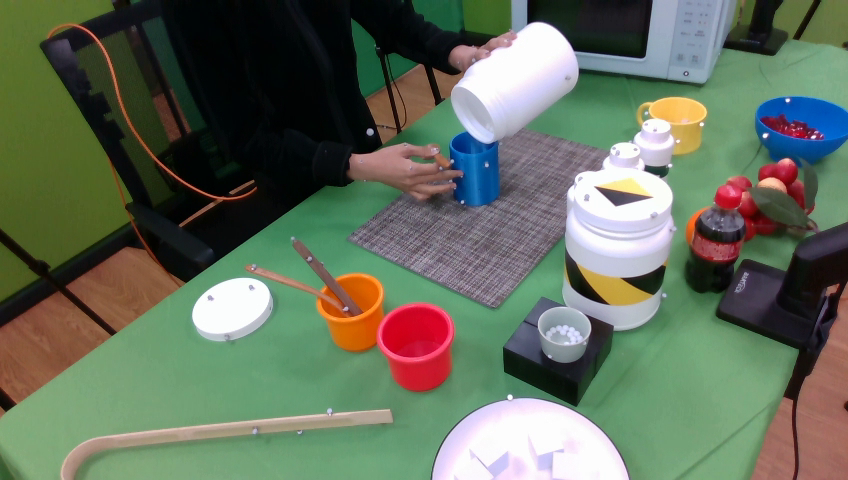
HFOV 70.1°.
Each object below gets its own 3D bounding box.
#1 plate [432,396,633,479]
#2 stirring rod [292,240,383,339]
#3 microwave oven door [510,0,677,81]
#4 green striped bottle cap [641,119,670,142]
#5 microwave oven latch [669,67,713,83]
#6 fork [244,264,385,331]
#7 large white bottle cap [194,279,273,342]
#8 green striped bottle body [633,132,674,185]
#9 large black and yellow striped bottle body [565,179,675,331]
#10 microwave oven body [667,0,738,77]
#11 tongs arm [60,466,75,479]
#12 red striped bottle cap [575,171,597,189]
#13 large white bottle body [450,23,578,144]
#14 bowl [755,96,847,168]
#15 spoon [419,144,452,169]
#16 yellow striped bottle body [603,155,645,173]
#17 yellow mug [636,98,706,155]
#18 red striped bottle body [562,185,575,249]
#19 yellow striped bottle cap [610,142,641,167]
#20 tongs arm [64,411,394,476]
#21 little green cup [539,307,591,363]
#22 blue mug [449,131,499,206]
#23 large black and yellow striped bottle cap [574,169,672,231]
[{"bbox_3d":[0.112,0.261,0.634,0.209,0.038,0.208,-5,40,4],"label":"plate"},{"bbox_3d":[-0.118,0.068,0.825,0.176,0.006,0.014,48,59,-3],"label":"stirring rod"},{"bbox_3d":[0.354,-0.478,1.290,0.353,0.245,0.039,15,45,25],"label":"microwave oven door"},{"bbox_3d":[0.371,-0.175,0.968,0.044,0.020,0.044,-4,42,4],"label":"green striped bottle cap"},{"bbox_3d":[0.556,-0.349,1.261,0.078,0.029,0.030,16,46,27],"label":"microwave oven latch"},{"bbox_3d":[-0.142,0.078,0.806,0.209,0.018,0.028,30,32,-23],"label":"fork"},{"bbox_3d":[-0.284,0.103,0.902,0.115,0.018,0.114,-4,40,4],"label":"large white bottle cap"},{"bbox_3d":[0.376,-0.135,1.001,0.063,0.120,0.063,-5,40,5],"label":"green striped bottle body"},{"bbox_3d":[0.254,0.014,0.793,0.131,0.185,0.130,-5,40,4],"label":"large black and yellow striped bottle body"},{"bbox_3d":[0.462,-0.552,1.369,0.439,0.261,0.326,15,45,26],"label":"microwave oven body"},{"bbox_3d":[-0.239,0.301,0.649,0.386,0.028,0.028,6,49,16],"label":"tongs arm"},{"bbox_3d":[0.242,-0.081,0.876,0.044,0.018,0.044,-5,44,5],"label":"red striped bottle cap"},{"bbox_3d":[0.146,-0.254,0.997,0.185,0.131,0.129,-39,47,-14],"label":"large white bottle body"},{"bbox_3d":[0.645,-0.177,1.041,0.151,0.077,0.150,-5,40,4],"label":"bowl"},{"bbox_3d":[0.019,-0.141,1.019,0.041,0.022,0.193,-29,16,0],"label":"spoon"},{"bbox_3d":[0.314,-0.091,0.957,0.063,0.121,0.062,-4,40,4],"label":"yellow striped bottle body"},{"bbox_3d":[0.453,-0.217,1.128,0.100,0.064,0.129,-34,46,-27],"label":"yellow mug"},{"bbox_3d":[0.247,-0.041,0.910,0.063,0.120,0.062,0,38,1],"label":"red striped bottle body"},{"bbox_3d":[0.308,-0.130,0.925,0.044,0.019,0.044,-5,43,5],"label":"yellow striped bottle cap"},{"bbox_3d":[-0.228,0.241,0.715,0.385,0.026,0.050,-5,44,5],"label":"tongs arm"},{"bbox_3d":[0.167,0.114,0.721,0.061,0.039,0.061,-4,43,4],"label":"little green cup"},{"bbox_3d":[0.090,-0.134,1.050,0.082,0.106,0.116,1,41,10],"label":"blue mug"},{"bbox_3d":[0.242,-0.051,0.738,0.115,0.019,0.114,-4,37,3],"label":"large black and yellow striped bottle cap"}]
